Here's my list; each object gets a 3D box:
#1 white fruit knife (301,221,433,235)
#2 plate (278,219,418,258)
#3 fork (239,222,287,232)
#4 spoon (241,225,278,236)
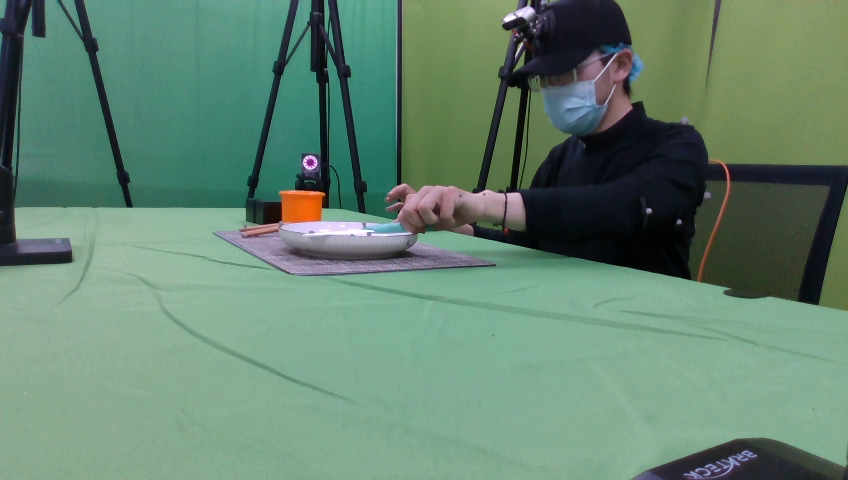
[{"bbox_3d":[-0.078,-0.015,0.856,0.208,0.016,0.027,-4,14,-36],"label":"white fruit knife"},{"bbox_3d":[-0.114,-0.003,0.914,0.209,0.038,0.209,2,8,0],"label":"plate"},{"bbox_3d":[-0.240,-0.025,1.125,0.208,0.018,0.028,-1,14,-35],"label":"fork"},{"bbox_3d":[-0.232,-0.021,1.082,0.195,0.021,0.041,-3,27,-37],"label":"spoon"}]
